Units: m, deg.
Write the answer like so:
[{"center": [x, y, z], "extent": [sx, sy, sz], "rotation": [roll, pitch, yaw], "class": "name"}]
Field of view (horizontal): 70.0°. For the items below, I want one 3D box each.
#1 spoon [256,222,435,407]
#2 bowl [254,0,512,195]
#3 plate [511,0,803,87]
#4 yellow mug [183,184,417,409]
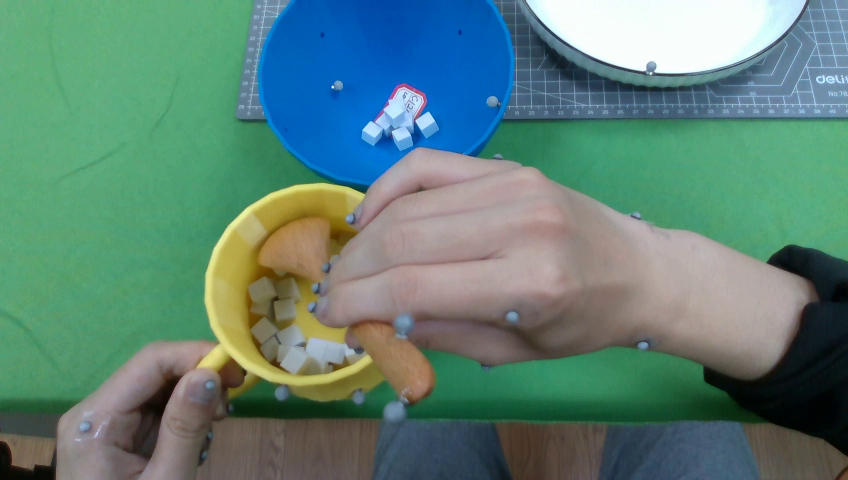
[{"center": [-0.036, 0.021, 0.247], "extent": [0.041, 0.022, 0.192], "rotation": [-33, 27, -15], "class": "spoon"}, {"center": [-0.021, -0.089, 0.386], "extent": [0.151, 0.077, 0.150], "rotation": [-1, 73, 4], "class": "bowl"}, {"center": [0.159, -0.194, 0.434], "extent": [0.209, 0.038, 0.207], "rotation": [-1, 70, 3], "class": "plate"}, {"center": [-0.066, 0.040, 0.309], "extent": [0.131, 0.064, 0.099], "rotation": [-41, 75, -13], "class": "yellow mug"}]
